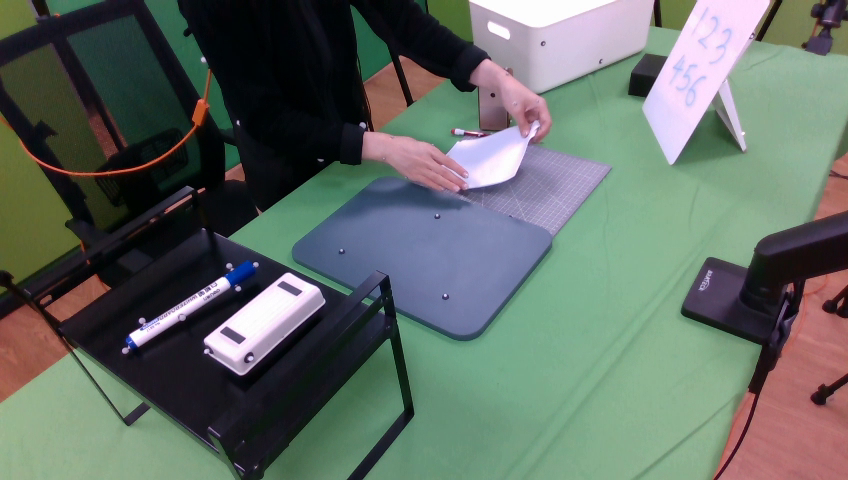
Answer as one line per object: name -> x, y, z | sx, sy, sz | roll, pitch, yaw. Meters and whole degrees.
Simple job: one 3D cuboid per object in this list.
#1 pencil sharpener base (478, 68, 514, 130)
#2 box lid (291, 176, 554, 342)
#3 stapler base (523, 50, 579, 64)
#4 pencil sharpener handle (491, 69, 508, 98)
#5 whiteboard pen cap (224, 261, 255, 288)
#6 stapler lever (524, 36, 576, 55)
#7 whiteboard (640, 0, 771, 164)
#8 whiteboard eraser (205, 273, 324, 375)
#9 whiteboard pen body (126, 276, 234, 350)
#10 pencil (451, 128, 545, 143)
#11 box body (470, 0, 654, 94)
pencil sharpener base -> 0.148, -0.286, 1.225 | 0.061, 0.107, 0.076 | 5, 41, 15
box lid -> -0.005, 0.011, 0.971 | 0.368, 0.015, 0.264 | 21, 49, 30
stapler base -> 0.301, -0.436, 1.434 | 0.130, 0.024, 0.041 | 5, 40, 17
pencil sharpener handle -> 0.155, -0.329, 1.254 | 0.036, 0.068, 0.030 | 17, 43, 4
whiteboard pen cap -> -0.207, 0.039, 0.677 | 0.033, 0.018, 0.018 | -36, 47, -18
stapler lever -> 0.296, -0.456, 1.418 | 0.117, 0.040, 0.027 | 4, 40, 17
whiteboard -> 0.543, -0.299, 1.076 | 0.144, 0.305, 0.216 | 12, 40, -7
whiteboard eraser -> -0.157, 0.084, 0.605 | 0.055, 0.042, 0.113 | 24, 49, 30
whiteboard pen body -> -0.251, 0.070, 0.649 | 0.141, 0.017, 0.017 | -36, 48, -26
pencil -> 0.145, -0.207, 1.205 | 0.193, 0.012, 0.012 | 11, 44, 20
box body -> 0.319, -0.498, 1.405 | 0.365, 0.161, 0.252 | -26, 43, -21
